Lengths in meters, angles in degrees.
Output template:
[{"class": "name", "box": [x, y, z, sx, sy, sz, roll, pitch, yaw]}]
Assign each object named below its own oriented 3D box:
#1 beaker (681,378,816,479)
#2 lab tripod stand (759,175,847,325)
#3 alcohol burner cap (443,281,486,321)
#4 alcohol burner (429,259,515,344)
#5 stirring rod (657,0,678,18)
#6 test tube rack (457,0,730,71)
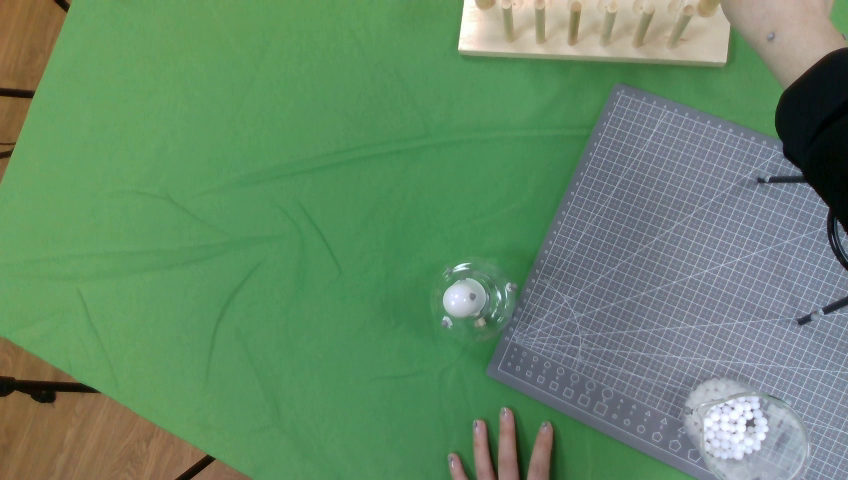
[{"class": "beaker", "box": [0.247, 0.150, 0.483, 0.083, 0.100, 0.074, 30, 93, 14]}, {"class": "lab tripod stand", "box": [0.328, -0.002, 0.455, 0.148, 0.132, 0.148, 0, 88, 12]}, {"class": "alcohol burner cap", "box": [0.031, 0.051, 0.495, 0.034, 0.048, 0.034, 0, 90, 14]}, {"class": "alcohol burner", "box": [0.040, 0.054, 0.530, 0.078, 0.119, 0.077, -1, 85, 11]}, {"class": "stirring rod", "box": [0.204, -0.222, 0.436, 0.006, 0.177, 0.014, -33, 75, -10]}, {"class": "test tube rack", "box": [0.146, -0.201, 0.535, 0.241, 0.085, 0.066, 6, 88, 13]}]
